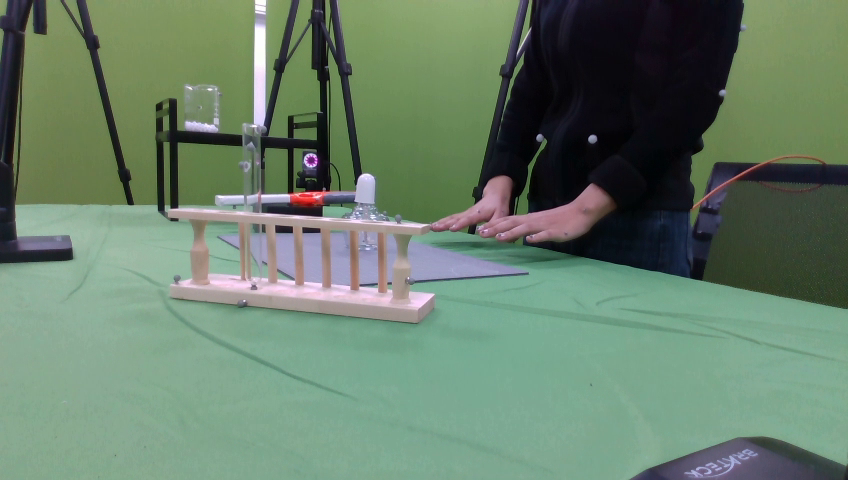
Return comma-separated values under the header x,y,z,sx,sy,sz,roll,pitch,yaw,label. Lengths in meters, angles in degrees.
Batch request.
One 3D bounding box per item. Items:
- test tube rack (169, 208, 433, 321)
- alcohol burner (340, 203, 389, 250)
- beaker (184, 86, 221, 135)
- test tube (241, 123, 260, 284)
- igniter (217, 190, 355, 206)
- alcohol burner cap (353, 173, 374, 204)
x,y,z,sx,sy,sz,roll,pitch,yaw,label
-0.115,0.018,0.574,0.242,0.085,0.067,4,8,13,test tube rack
-0.093,-0.045,0.939,0.078,0.119,0.078,0,7,0,alcohol burner
-0.475,-0.277,1.296,0.074,0.100,0.084,2,8,-1,beaker
-0.160,-0.032,0.558,0.017,0.150,0.017,3,13,0,test tube
-0.248,-0.080,1.152,0.278,0.025,0.057,-4,11,-27,igniter
-0.092,-0.081,0.936,0.034,0.048,0.034,6,10,-1,alcohol burner cap
